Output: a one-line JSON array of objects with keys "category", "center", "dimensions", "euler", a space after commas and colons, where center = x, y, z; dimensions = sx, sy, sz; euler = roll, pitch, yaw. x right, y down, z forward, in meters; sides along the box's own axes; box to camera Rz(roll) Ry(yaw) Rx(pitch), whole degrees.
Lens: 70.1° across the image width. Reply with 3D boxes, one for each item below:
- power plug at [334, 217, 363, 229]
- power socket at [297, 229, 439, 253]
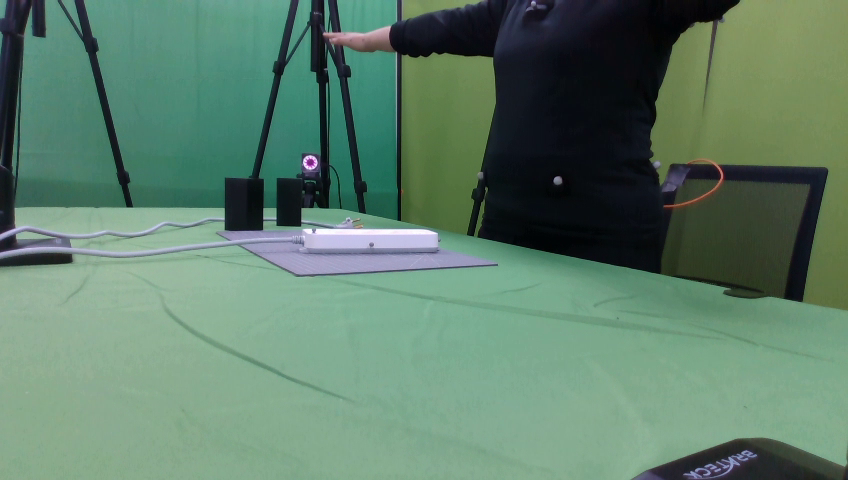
[{"category": "power plug", "center": [-0.143, -0.031, 1.129], "dimensions": [0.053, 0.035, 0.072], "euler": [-16, 22, -9]}, {"category": "power socket", "center": [-0.084, 0.000, 0.942], "dimensions": [0.228, 0.032, 0.072], "euler": [0, 7, -20]}]
